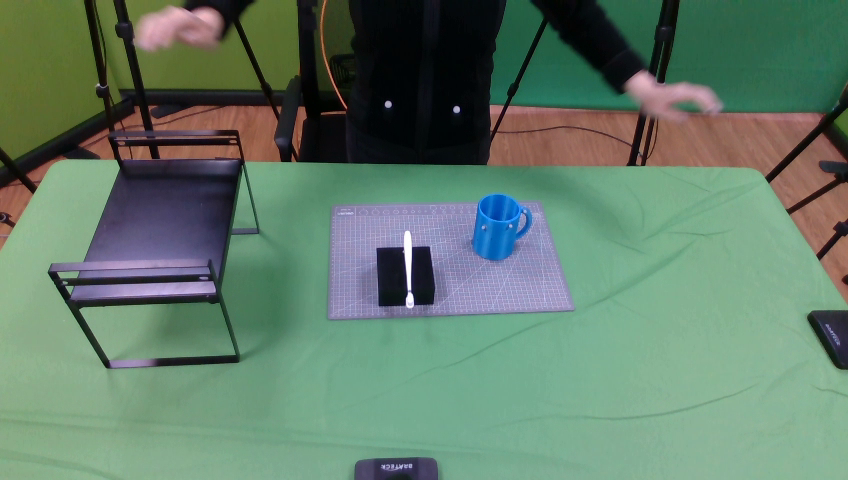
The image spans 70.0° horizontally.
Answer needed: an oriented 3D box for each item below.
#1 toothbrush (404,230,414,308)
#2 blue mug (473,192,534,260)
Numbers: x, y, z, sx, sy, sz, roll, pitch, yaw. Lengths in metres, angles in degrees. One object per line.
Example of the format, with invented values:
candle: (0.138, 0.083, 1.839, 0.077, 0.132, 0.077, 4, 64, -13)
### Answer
toothbrush: (-0.027, 0.046, 1.082, 0.014, 0.017, 0.180, -6, 46, 2)
blue mug: (0.156, -0.029, 1.173, 0.117, 0.106, 0.082, -8, 47, -12)
